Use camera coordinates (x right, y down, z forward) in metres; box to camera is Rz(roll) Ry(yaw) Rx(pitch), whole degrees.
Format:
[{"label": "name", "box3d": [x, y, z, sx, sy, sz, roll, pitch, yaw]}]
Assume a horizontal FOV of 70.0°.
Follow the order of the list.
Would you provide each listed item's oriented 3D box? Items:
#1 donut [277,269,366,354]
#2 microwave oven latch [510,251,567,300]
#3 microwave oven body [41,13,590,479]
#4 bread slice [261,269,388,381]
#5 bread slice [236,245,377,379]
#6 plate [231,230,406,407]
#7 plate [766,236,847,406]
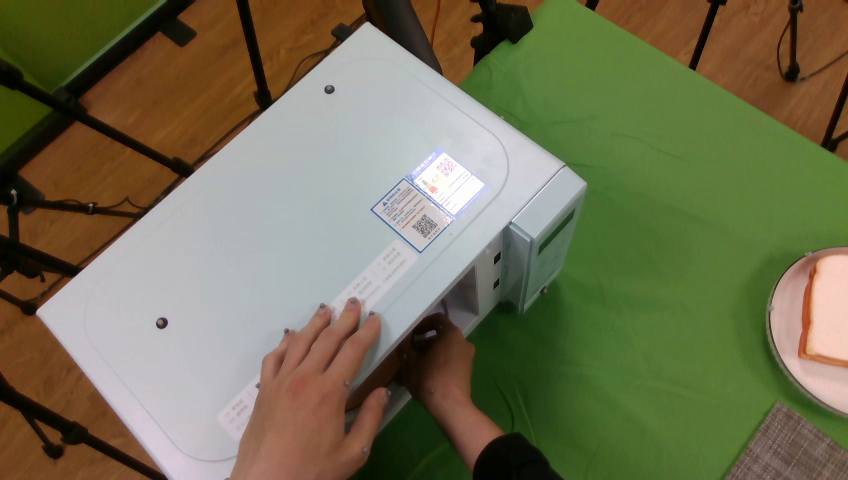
[{"label": "donut", "box3d": [-0.114, 0.081, 0.681, 0.099, 0.048, 0.098, 1, 66, -2]}, {"label": "microwave oven latch", "box3d": [0.142, 0.037, 0.752, 0.079, 0.030, 0.030, -42, 70, -10]}, {"label": "microwave oven body", "box3d": [-0.097, 0.035, 0.673, 0.324, 0.262, 0.441, 40, 78, 19]}, {"label": "bread slice", "box3d": [-0.122, 0.104, 0.716, 0.131, 0.019, 0.104, -31, 69, -22]}, {"label": "bread slice", "box3d": [-0.120, 0.067, 0.657, 0.134, 0.018, 0.106, -36, 77, -17]}, {"label": "plate", "box3d": [-0.120, 0.090, 0.708, 0.209, 0.038, 0.207, -3, 70, 8]}, {"label": "plate", "box3d": [0.508, 0.097, 0.710, 0.207, 0.039, 0.206, -2, 68, 5]}]
